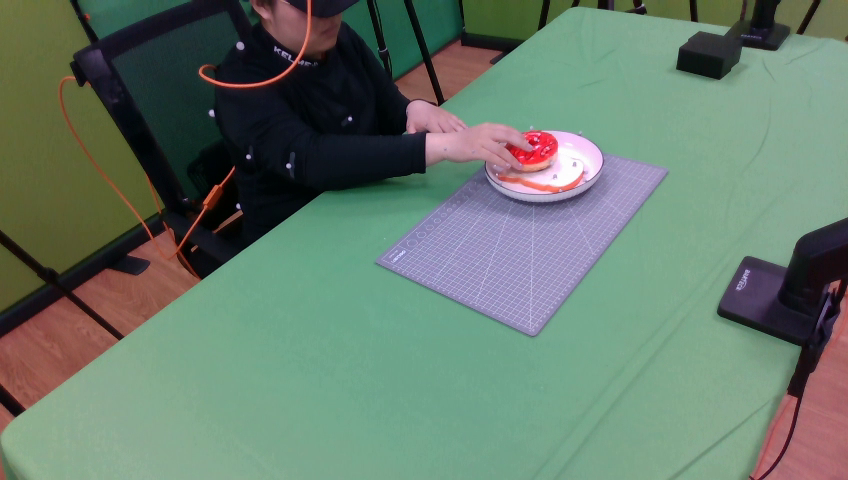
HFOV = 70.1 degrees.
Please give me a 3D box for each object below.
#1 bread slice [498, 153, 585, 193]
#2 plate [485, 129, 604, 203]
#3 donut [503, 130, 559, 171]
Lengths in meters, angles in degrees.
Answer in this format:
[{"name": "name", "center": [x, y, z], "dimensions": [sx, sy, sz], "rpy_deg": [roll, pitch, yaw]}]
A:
[{"name": "bread slice", "center": [0.216, -0.125, 1.076], "dimensions": [0.133, 0.018, 0.107], "rpy_deg": [16, 48, 28]}, {"name": "plate", "center": [0.213, -0.129, 1.079], "dimensions": [0.209, 0.038, 0.208], "rpy_deg": [-5, 40, 5]}, {"name": "donut", "center": [0.190, -0.160, 1.076], "dimensions": [0.099, 0.048, 0.098], "rpy_deg": [-8, 39, 7]}]
